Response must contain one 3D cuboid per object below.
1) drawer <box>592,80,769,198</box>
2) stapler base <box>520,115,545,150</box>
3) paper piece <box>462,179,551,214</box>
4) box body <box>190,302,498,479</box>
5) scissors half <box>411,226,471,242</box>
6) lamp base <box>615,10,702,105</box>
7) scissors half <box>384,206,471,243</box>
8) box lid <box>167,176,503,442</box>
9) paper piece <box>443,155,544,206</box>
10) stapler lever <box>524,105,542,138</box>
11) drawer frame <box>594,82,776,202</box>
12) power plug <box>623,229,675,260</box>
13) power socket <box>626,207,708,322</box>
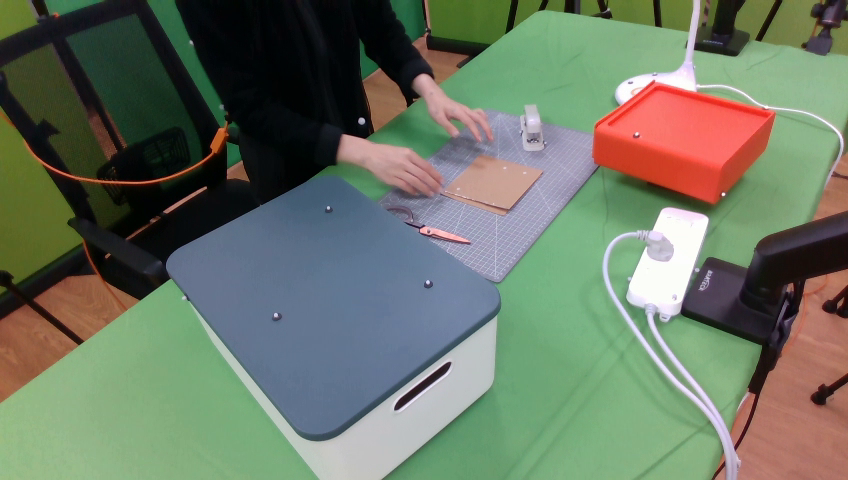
[{"bbox_3d":[0.423,-0.174,1.008,0.210,0.073,0.195,30,52,35],"label":"drawer"},{"bbox_3d":[0.215,-0.221,1.201,0.041,0.024,0.130,0,39,4],"label":"stapler base"},{"bbox_3d":[0.135,-0.097,1.091,0.136,0.004,0.134,-29,43,-33],"label":"paper piece"},{"bbox_3d":[-0.110,0.103,0.761,0.255,0.161,0.361,-33,46,-27],"label":"box body"},{"bbox_3d":[-0.007,-0.011,0.992,0.174,0.013,0.040,8,45,15],"label":"scissors half"},{"bbox_3d":[0.484,-0.364,1.211,0.180,0.181,0.159,-15,41,-14],"label":"lamp base"},{"bbox_3d":[0.002,-0.024,1.005,0.174,0.013,0.040,22,55,26],"label":"scissors half"},{"bbox_3d":[-0.119,0.047,0.714,0.264,0.015,0.368,-32,47,-27],"label":"box lid"},{"bbox_3d":[0.127,-0.109,1.091,0.137,0.009,0.136,18,42,30],"label":"paper piece"},{"bbox_3d":[0.213,-0.241,1.186,0.027,0.040,0.117,0,39,4],"label":"stapler lever"},{"bbox_3d":[0.428,-0.171,1.006,0.211,0.083,0.202,29,51,36],"label":"drawer frame"},{"bbox_3d":[0.327,0.007,0.878,0.072,0.053,0.035,25,51,32],"label":"power plug"},{"bbox_3d":[0.360,0.026,0.886,0.072,0.033,0.227,16,46,26],"label":"power socket"}]
